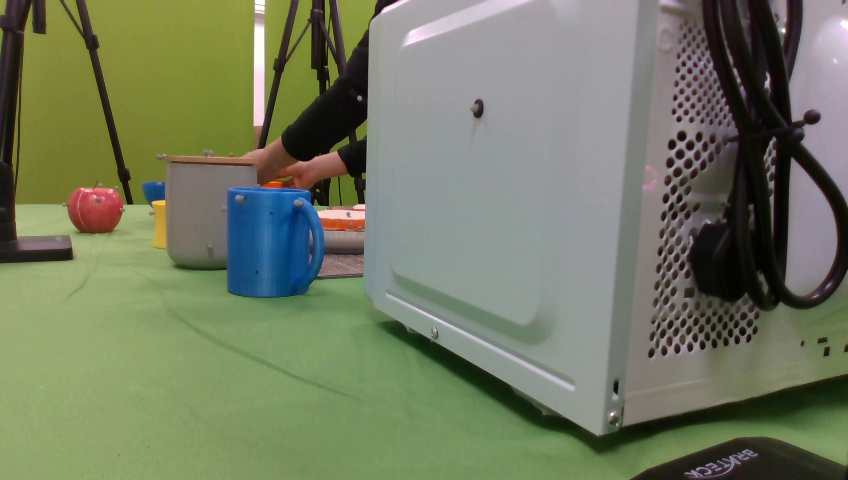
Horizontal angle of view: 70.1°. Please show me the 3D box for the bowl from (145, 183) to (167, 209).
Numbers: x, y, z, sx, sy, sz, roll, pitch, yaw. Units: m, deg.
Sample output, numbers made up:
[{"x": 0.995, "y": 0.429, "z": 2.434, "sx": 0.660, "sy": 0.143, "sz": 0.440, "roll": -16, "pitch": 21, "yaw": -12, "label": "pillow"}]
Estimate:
[{"x": -0.459, "y": -0.068, "z": 1.175, "sx": 0.151, "sy": 0.077, "sz": 0.151, "roll": 3, "pitch": 7, "yaw": 0, "label": "bowl"}]

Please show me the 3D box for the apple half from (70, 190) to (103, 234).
[{"x": -0.552, "y": -0.047, "z": 1.009, "sx": 0.053, "sy": 0.074, "sz": 0.081, "roll": -1, "pitch": 9, "yaw": 26, "label": "apple half"}]

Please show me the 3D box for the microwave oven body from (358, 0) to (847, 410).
[{"x": 0.210, "y": -0.051, "z": 0.471, "sx": 0.444, "sy": 0.260, "sz": 0.324, "roll": -1, "pitch": 7, "yaw": -28, "label": "microwave oven body"}]

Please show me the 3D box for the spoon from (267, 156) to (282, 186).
[{"x": -0.391, "y": -0.150, "z": 1.547, "sx": 0.041, "sy": 0.021, "sz": 0.193, "roll": 4, "pitch": 52, "yaw": 6, "label": "spoon"}]

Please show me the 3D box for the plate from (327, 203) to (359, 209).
[{"x": -0.102, "y": -0.053, "z": 1.299, "sx": 0.209, "sy": 0.038, "sz": 0.209, "roll": 2, "pitch": 8, "yaw": 0, "label": "plate"}]

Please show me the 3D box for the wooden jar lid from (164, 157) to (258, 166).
[{"x": -0.261, "y": -0.093, "z": 0.746, "sx": 0.108, "sy": 0.020, "sz": 0.108, "roll": 1, "pitch": 9, "yaw": 0, "label": "wooden jar lid"}]

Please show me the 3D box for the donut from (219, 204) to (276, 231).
[{"x": -0.316, "y": -0.039, "z": 1.083, "sx": 0.099, "sy": 0.048, "sz": 0.099, "roll": 2, "pitch": 7, "yaw": 0, "label": "donut"}]

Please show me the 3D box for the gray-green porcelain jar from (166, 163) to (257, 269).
[{"x": -0.263, "y": -0.031, "z": 0.754, "sx": 0.106, "sy": 0.126, "sz": 0.106, "roll": 2, "pitch": 7, "yaw": 0, "label": "gray-green porcelain jar"}]

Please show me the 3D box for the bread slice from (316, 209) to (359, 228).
[{"x": -0.126, "y": -0.034, "z": 0.934, "sx": 0.134, "sy": 0.018, "sz": 0.107, "roll": 3, "pitch": 10, "yaw": 28, "label": "bread slice"}]

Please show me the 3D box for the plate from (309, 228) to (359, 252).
[{"x": -0.130, "y": -0.011, "z": 0.945, "sx": 0.208, "sy": 0.039, "sz": 0.207, "roll": 2, "pitch": 8, "yaw": 0, "label": "plate"}]

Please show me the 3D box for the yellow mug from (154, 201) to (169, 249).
[{"x": -0.338, "y": -0.022, "z": 0.899, "sx": 0.130, "sy": 0.064, "sz": 0.100, "roll": 8, "pitch": 9, "yaw": 34, "label": "yellow mug"}]

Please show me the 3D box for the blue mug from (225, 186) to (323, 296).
[{"x": -0.148, "y": 0.000, "z": 0.618, "sx": 0.116, "sy": 0.106, "sz": 0.083, "roll": 7, "pitch": 9, "yaw": 33, "label": "blue mug"}]

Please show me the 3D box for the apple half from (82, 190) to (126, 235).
[{"x": -0.517, "y": -0.046, "z": 0.994, "sx": 0.032, "sy": 0.081, "sz": 0.081, "roll": 1, "pitch": 7, "yaw": 25, "label": "apple half"}]

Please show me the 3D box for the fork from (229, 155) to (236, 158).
[{"x": -0.458, "y": -0.134, "z": 1.415, "sx": 0.028, "sy": 0.018, "sz": 0.207, "roll": -1, "pitch": -34, "yaw": -25, "label": "fork"}]

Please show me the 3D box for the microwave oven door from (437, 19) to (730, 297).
[{"x": 0.180, "y": -0.076, "z": 0.618, "sx": 0.358, "sy": 0.243, "sz": 0.039, "roll": -2, "pitch": 9, "yaw": -28, "label": "microwave oven door"}]

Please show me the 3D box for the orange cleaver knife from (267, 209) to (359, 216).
[{"x": -0.259, "y": -0.064, "z": 1.423, "sx": 0.212, "sy": 0.012, "sz": 0.077, "roll": -4, "pitch": 3, "yaw": -30, "label": "orange cleaver knife"}]

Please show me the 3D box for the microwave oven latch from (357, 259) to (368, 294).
[{"x": -0.019, "y": 0.031, "z": 0.530, "sx": 0.079, "sy": 0.029, "sz": 0.030, "roll": -1, "pitch": 7, "yaw": -27, "label": "microwave oven latch"}]

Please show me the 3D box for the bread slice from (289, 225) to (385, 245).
[{"x": -0.125, "y": -0.008, "z": 0.938, "sx": 0.131, "sy": 0.019, "sz": 0.105, "roll": 5, "pitch": 8, "yaw": 31, "label": "bread slice"}]
